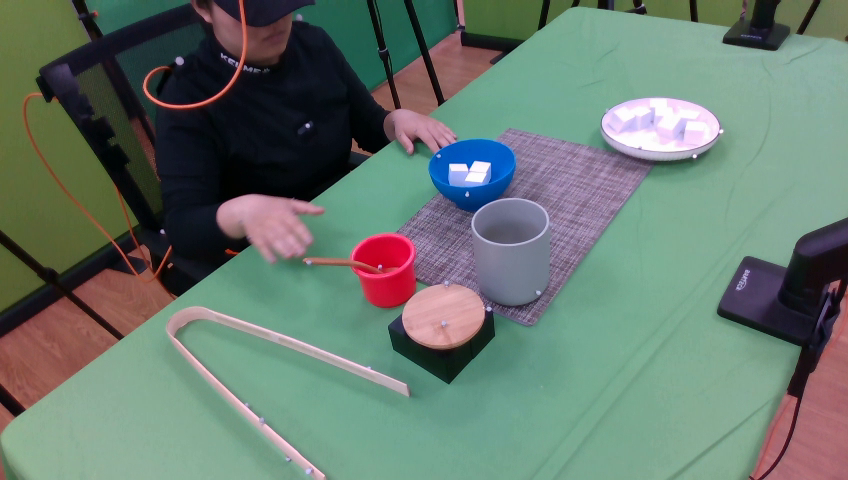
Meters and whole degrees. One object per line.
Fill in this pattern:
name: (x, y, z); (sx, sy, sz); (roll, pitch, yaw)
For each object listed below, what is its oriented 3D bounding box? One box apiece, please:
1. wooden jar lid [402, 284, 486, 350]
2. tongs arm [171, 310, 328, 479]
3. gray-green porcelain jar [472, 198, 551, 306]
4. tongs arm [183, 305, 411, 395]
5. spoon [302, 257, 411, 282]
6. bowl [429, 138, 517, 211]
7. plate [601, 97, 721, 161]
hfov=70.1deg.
wooden jar lid: (0.026, 0.101, 0.786); (0.108, 0.021, 0.108); (-5, 39, 4)
tongs arm: (-0.236, 0.192, 0.794); (0.381, 0.026, 0.051); (24, 50, 35)
gray-green porcelain jar: (0.125, 0.021, 0.850); (0.106, 0.127, 0.105); (-6, 40, 5)
tongs arm: (-0.187, 0.148, 0.842); (0.385, 0.028, 0.028); (14, 48, 26)
spoon: (-0.092, 0.038, 0.865); (0.195, 0.021, 0.041); (16, 15, -46)
bowl: (0.087, -0.104, 1.043); (0.151, 0.077, 0.150); (-6, 40, 5)
plate: (0.436, -0.203, 1.126); (0.209, 0.038, 0.208); (-5, 39, 5)
